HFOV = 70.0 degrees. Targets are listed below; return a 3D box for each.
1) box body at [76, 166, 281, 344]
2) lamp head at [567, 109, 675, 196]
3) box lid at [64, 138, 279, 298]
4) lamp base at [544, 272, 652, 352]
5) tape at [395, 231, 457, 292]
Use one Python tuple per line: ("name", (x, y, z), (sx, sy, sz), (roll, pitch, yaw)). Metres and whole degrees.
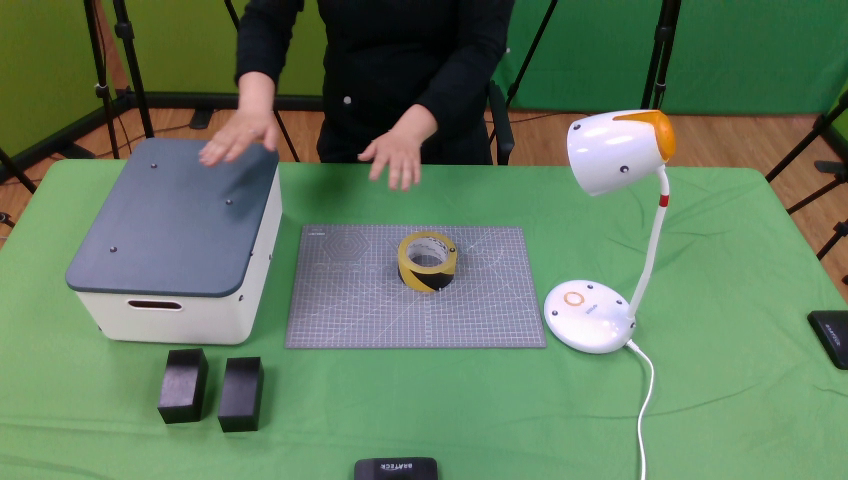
("box body", (-0.406, -0.002, 1.071), (0.254, 0.161, 0.361), (2, 46, -2))
("lamp head", (0.272, -0.123, 0.818), (0.122, 0.113, 0.112), (-9, 35, 37))
("box lid", (-0.404, -0.051, 1.016), (0.263, 0.015, 0.369), (3, 46, -2))
("lamp base", (0.309, 0.086, 1.029), (0.178, 0.181, 0.160), (32, 52, 21))
("tape", (0.004, 0.039, 1.136), (0.117, 0.053, 0.116), (2, 46, -2))
